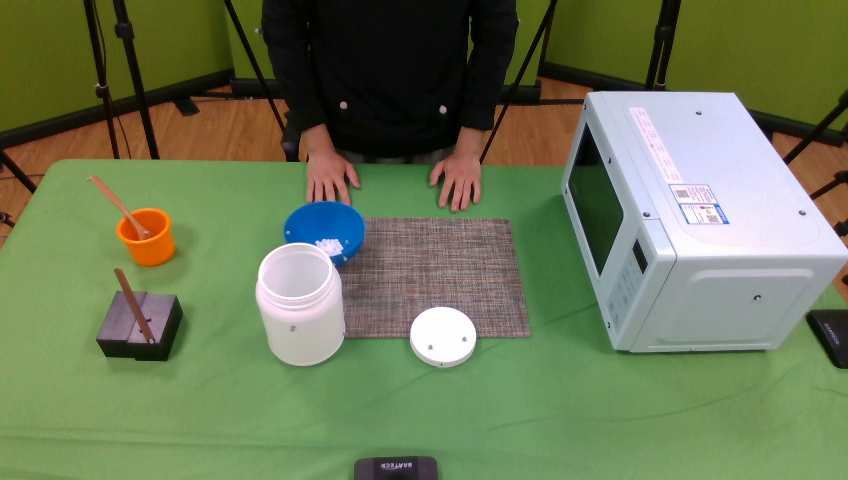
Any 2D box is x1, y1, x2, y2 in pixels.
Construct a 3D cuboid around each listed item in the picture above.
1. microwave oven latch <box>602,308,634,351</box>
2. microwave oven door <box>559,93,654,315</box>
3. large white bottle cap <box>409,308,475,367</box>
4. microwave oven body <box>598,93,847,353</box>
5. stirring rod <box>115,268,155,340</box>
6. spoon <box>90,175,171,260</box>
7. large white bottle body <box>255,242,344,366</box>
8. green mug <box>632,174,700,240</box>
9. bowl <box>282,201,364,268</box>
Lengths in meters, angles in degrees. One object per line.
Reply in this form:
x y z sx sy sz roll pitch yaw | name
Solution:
0.332 0.153 1.044 0.030 0.029 0.078 -1 45 -4 | microwave oven latch
0.327 -0.074 1.123 0.039 0.245 0.353 -1 46 -5 | microwave oven door
0.031 0.165 1.041 0.115 0.018 0.114 2 46 -2 | large white bottle cap
0.475 -0.041 1.110 0.326 0.261 0.438 -1 45 -4 | microwave oven body
-0.478 0.103 0.999 0.014 0.006 0.175 7 32 -49 | stirring rod
-0.539 -0.042 1.111 0.021 0.194 0.041 -13 27 52 | spoon
-0.196 0.102 0.967 0.131 0.185 0.130 2 49 -2 | large white bottle body
0.456 -0.057 1.154 0.125 0.105 0.092 -14 45 -10 | green mug
-0.187 0.005 1.137 0.151 0.077 0.150 3 46 -3 | bowl
